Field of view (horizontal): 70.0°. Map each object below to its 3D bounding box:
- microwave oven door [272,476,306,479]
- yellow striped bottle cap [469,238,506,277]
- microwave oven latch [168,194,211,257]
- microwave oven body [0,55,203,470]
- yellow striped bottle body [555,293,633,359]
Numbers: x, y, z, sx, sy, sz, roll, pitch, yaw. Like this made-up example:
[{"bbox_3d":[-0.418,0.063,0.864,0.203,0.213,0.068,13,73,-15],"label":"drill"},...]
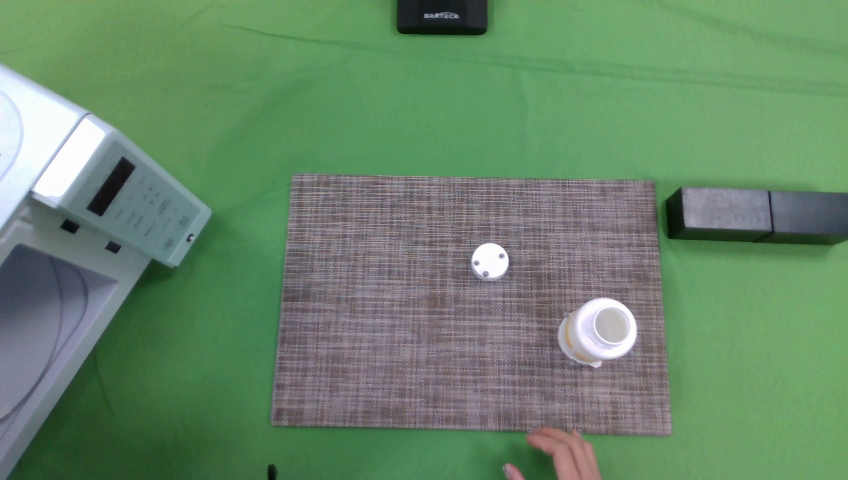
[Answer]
[{"bbox_3d":[-0.305,0.264,0.533,0.356,0.245,0.039,-7,76,-2],"label":"microwave oven door"},{"bbox_3d":[0.076,0.021,0.721,0.044,0.019,0.044,0,77,2],"label":"yellow striped bottle cap"},{"bbox_3d":[-0.281,-0.021,0.705,0.030,0.029,0.079,30,79,6],"label":"microwave oven latch"},{"bbox_3d":[-0.497,0.036,0.592,0.325,0.261,0.440,28,79,6],"label":"microwave oven body"},{"bbox_3d":[0.183,0.092,0.649,0.063,0.121,0.062,0,76,1],"label":"yellow striped bottle body"}]
